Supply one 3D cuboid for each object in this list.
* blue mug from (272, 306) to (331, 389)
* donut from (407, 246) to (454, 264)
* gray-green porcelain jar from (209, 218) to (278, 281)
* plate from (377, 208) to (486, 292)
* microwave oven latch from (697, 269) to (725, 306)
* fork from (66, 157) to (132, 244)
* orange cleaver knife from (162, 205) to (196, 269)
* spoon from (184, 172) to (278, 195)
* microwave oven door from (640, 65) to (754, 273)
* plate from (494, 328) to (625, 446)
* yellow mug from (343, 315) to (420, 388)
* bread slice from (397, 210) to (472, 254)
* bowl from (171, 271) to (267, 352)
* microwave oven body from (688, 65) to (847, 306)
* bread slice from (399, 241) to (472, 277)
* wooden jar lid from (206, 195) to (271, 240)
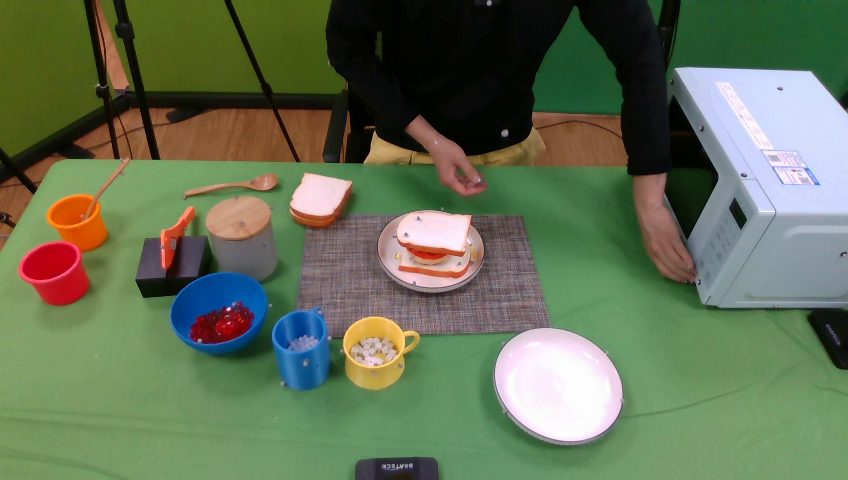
[{"bbox_3d":[-0.187,0.163,0.969,0.082,0.106,0.116,15,47,10],"label":"blue mug"},{"bbox_3d":[0.015,0.001,1.138,0.099,0.048,0.098,2,48,-2],"label":"donut"},{"bbox_3d":[-0.322,0.007,1.092,0.106,0.127,0.105,2,46,-2],"label":"gray-green porcelain jar"},{"bbox_3d":[0.013,0.022,1.158,0.209,0.038,0.208,2,46,-2],"label":"plate"},{"bbox_3d":[0.526,0.083,1.114,0.030,0.029,0.078,6,46,3],"label":"microwave oven latch"},{"bbox_3d":[-0.608,-0.074,1.132,0.207,0.019,0.028,-52,50,10],"label":"fork"},{"bbox_3d":[-0.453,-0.010,1.129,0.012,0.077,0.210,-2,20,-5],"label":"orange cleaver knife"},{"bbox_3d":[-0.404,-0.116,1.275,0.194,0.022,0.041,-8,66,-12],"label":"spoon"},{"bbox_3d":[0.523,-0.147,1.193,0.039,0.245,0.353,0,47,-3],"label":"microwave oven door"},{"bbox_3d":[0.214,0.236,0.974,0.208,0.039,0.206,2,46,-2],"label":"plate"},{"bbox_3d":[-0.067,0.177,0.990,0.131,0.064,0.099,-16,50,-19],"label":"yellow mug"},{"bbox_3d":[0.018,-0.016,1.113,0.134,0.018,0.106,3,40,6],"label":"bread slice"},{"bbox_3d":[-0.332,0.132,1.006,0.151,0.077,0.150,2,46,-2],"label":"bowl"},{"bbox_3d":[0.670,-0.111,1.176,0.326,0.261,0.439,0,46,-3],"label":"microwave oven body"},{"bbox_3d":[0.026,0.024,1.159,0.131,0.019,0.104,8,47,5],"label":"bread slice"},{"bbox_3d":[-0.318,-0.036,1.046,0.108,0.021,0.107,0,44,0],"label":"wooden jar lid"}]
